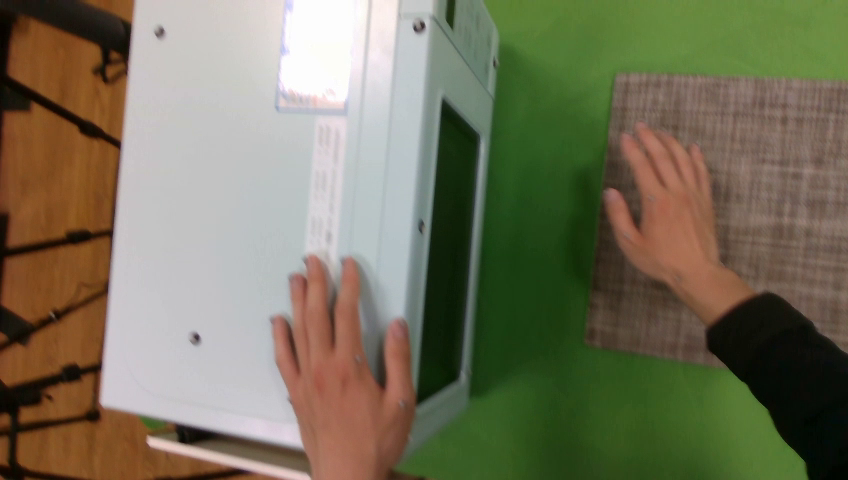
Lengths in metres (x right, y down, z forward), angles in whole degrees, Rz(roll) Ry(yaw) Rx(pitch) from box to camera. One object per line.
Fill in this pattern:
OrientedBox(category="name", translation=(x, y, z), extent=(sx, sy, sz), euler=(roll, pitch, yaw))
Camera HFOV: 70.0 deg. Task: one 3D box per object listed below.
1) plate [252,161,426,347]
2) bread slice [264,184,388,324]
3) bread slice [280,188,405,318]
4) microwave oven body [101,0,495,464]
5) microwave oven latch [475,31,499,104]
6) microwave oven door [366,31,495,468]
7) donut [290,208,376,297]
OrientedBox(category="plate", translation=(-0.094, 0.016, 0.689), extent=(0.207, 0.039, 0.207), euler=(-1, 88, 15))
OrientedBox(category="bread slice", translation=(-0.114, 0.010, 0.638), extent=(0.105, 0.019, 0.131), euler=(-38, 79, 16))
OrientedBox(category="bread slice", translation=(-0.101, 0.008, 0.684), extent=(0.107, 0.018, 0.133), euler=(-43, 72, 3))
OrientedBox(category="microwave oven body", translation=(-0.118, -0.040, 0.646), extent=(0.325, 0.261, 0.441), euler=(5, 89, 18))
OrientedBox(category="microwave oven latch", translation=(0.069, -0.198, 0.695), extent=(0.030, 0.029, 0.079), euler=(5, 90, 18))
OrientedBox(category="microwave oven door", translation=(0.015, 0.013, 0.595), extent=(0.039, 0.245, 0.355), euler=(5, 89, 19))
OrientedBox(category="donut", translation=(-0.099, 0.013, 0.661), extent=(0.099, 0.048, 0.099), euler=(-1, 86, 12))
